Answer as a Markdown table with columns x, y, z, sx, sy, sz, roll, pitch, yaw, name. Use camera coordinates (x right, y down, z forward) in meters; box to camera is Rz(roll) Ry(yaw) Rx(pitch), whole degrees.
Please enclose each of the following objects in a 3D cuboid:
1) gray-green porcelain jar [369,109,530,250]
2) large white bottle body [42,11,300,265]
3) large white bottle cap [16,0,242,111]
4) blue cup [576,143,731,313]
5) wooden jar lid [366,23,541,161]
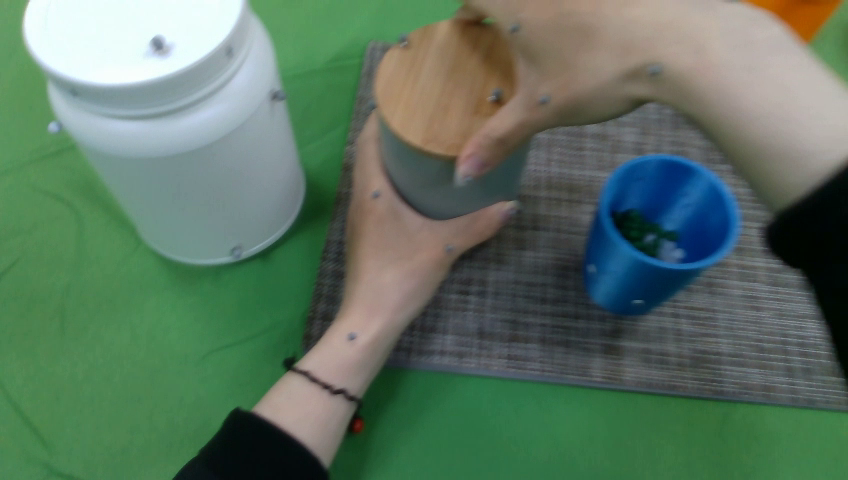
| x | y | z | sx | sy | sz | roll | pitch | yaw | name |
| --- | --- | --- | --- | --- | --- | --- | --- | --- | --- |
| 0.016 | -0.060 | 0.435 | 0.106 | 0.127 | 0.105 | 1 | 61 | -1 | gray-green porcelain jar |
| -0.162 | -0.078 | 0.407 | 0.131 | 0.186 | 0.129 | 1 | 61 | -1 | large white bottle body |
| -0.160 | -0.119 | 0.332 | 0.115 | 0.018 | 0.114 | 1 | 61 | -2 | large white bottle cap |
| 0.147 | 0.004 | 0.419 | 0.093 | 0.101 | 0.092 | 1 | 60 | -1 | blue cup |
| 0.018 | -0.091 | 0.380 | 0.108 | 0.021 | 0.107 | 0 | 61 | 1 | wooden jar lid |
